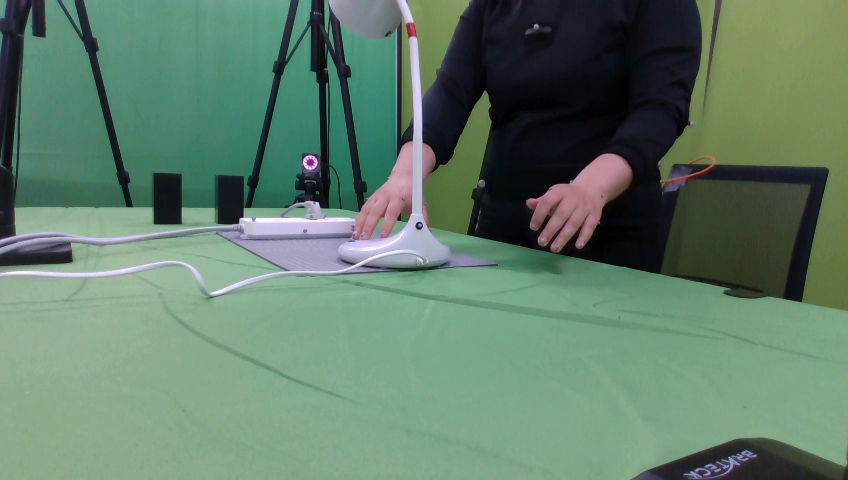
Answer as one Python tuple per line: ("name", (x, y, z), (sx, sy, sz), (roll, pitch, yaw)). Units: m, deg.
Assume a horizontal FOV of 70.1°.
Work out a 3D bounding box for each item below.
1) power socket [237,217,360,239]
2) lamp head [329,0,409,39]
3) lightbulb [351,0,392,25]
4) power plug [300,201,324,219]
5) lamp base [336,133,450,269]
("power socket", (-0.220, -0.023, 1.080), (0.228, 0.032, 0.072), (-2, 8, -33))
("lamp head", (-0.062, -0.357, 0.842), (0.113, 0.112, 0.122), (-1, -14, -29))
("lightbulb", (-0.070, -0.355, 0.866), (0.060, 0.059, 0.107), (0, -21, -20))
("power plug", (-0.207, -0.046, 1.120), (0.035, 0.052, 0.072), (1, 4, -22))
("lamp base", (-0.032, -0.057, 0.830), (0.161, 0.180, 0.178), (-2, 11, -34))
